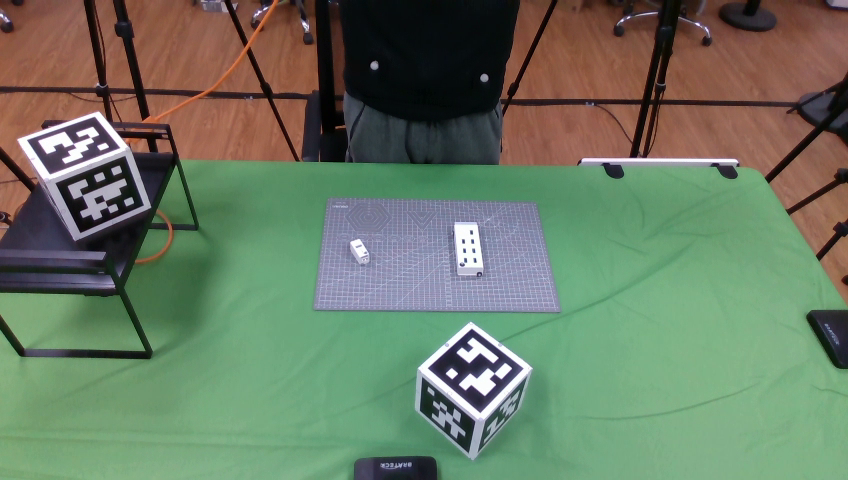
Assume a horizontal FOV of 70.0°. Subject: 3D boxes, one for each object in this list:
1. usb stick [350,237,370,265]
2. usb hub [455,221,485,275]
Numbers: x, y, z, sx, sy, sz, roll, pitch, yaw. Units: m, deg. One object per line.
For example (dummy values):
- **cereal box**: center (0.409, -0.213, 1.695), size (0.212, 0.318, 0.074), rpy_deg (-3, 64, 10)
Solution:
- **usb stick**: center (-0.120, 0.025, 1.149), size (0.021, 0.027, 0.059), rpy_deg (-30, 51, 6)
- **usb hub**: center (0.088, 0.014, 1.177), size (0.049, 0.025, 0.124), rpy_deg (0, 46, -3)
